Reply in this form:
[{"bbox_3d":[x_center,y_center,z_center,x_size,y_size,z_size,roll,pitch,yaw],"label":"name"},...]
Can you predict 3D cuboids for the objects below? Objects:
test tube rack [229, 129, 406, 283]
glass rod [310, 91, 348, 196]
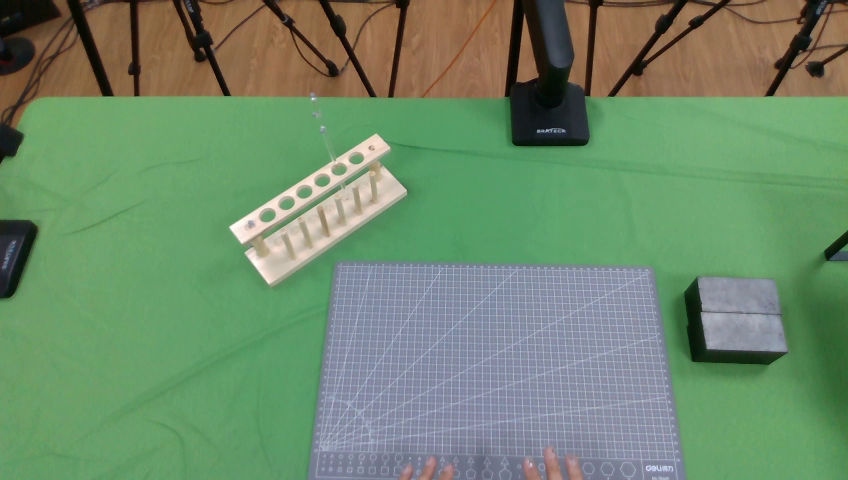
[{"bbox_3d":[-0.142,-0.049,0.856,0.242,0.086,0.066,-36,66,-16],"label":"test tube rack"},{"bbox_3d":[-0.127,-0.123,0.820,0.008,0.201,0.008,-3,55,5],"label":"glass rod"}]
